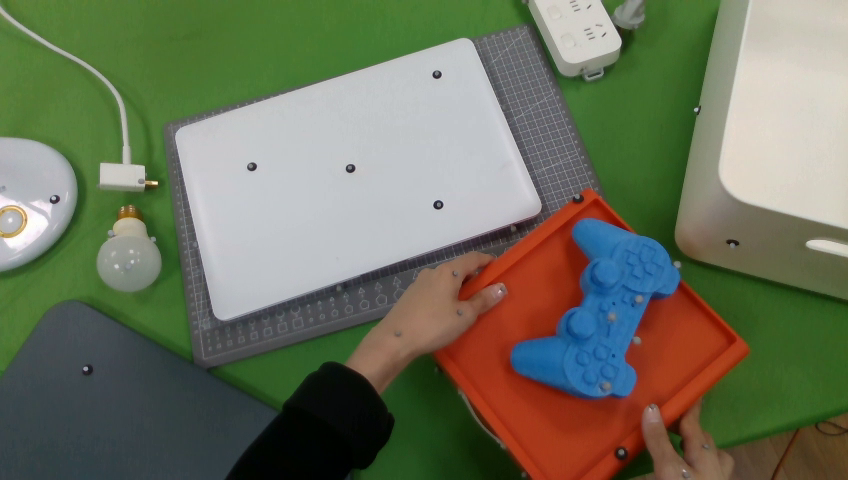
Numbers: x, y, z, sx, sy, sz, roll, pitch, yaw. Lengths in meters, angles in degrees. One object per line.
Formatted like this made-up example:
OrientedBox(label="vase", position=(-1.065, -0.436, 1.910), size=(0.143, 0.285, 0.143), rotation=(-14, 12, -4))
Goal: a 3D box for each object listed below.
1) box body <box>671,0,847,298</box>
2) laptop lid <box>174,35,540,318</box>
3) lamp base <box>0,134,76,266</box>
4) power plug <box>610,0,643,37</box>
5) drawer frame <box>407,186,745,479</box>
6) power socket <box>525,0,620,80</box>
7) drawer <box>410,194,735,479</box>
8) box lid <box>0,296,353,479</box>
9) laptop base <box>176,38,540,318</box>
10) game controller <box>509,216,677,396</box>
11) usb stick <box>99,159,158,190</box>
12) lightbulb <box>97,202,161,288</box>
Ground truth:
OrientedBox(label="box body", position=(0.401, -0.137, 0.571), size=(0.253, 0.161, 0.362), rotation=(15, 72, 10))
OrientedBox(label="laptop lid", position=(-0.079, -0.078, 0.649), size=(0.357, 0.013, 0.240), rotation=(-17, 72, -2))
OrientedBox(label="lamp base", position=(-0.483, -0.080, 0.607), size=(0.160, 0.181, 0.178), rotation=(-43, 69, -12))
OrientedBox(label="power plug", position=(0.244, -0.265, 0.696), size=(0.072, 0.053, 0.035), rotation=(-35, 66, -27))
OrientedBox(label="drawer frame", position=(0.128, 0.093, 0.548), size=(0.213, 0.083, 0.200), rotation=(-37, 72, -9))
OrientedBox(label="power socket", position=(0.158, -0.289, 0.714), size=(0.072, 0.033, 0.225), rotation=(-17, 69, -3))
OrientedBox(label="drawer", position=(0.128, 0.095, 0.549), size=(0.211, 0.074, 0.193), rotation=(-37, 71, -9))
OrientedBox(label="box lid", position=(-0.279, 0.232, 0.567), size=(0.370, 0.015, 0.262), rotation=(25, 74, 12))
OrientedBox(label="laptop base", position=(-0.079, -0.076, 0.661), size=(0.354, 0.023, 0.234), rotation=(-19, 73, -3))
OrientedBox(label="game controller", position=(0.144, 0.056, 0.506), size=(0.097, 0.052, 0.154), rotation=(28, 76, 8))
OrientedBox(label="usb stick", position=(-0.324, -0.071, 0.666), size=(0.059, 0.021, 0.027), rotation=(6, 71, -29))
OrientedBox(label="lightbulb", position=(-0.308, 0.001, 0.635), size=(0.059, 0.060, 0.106), rotation=(-18, 54, -2))
